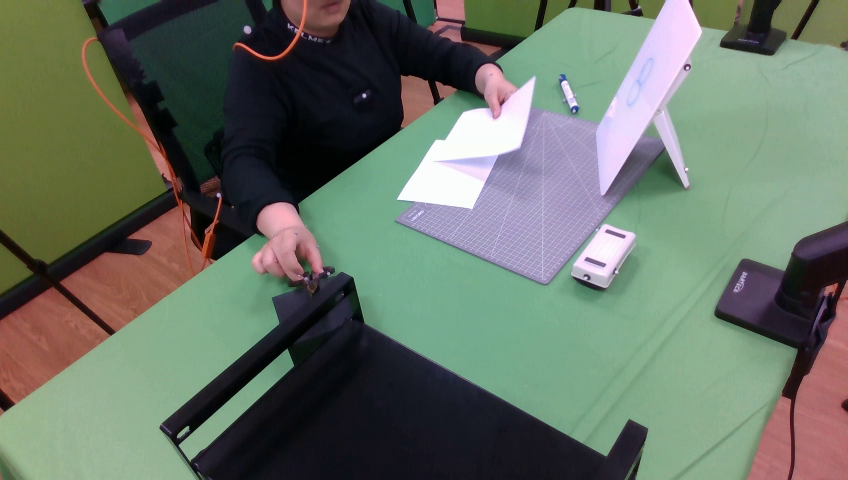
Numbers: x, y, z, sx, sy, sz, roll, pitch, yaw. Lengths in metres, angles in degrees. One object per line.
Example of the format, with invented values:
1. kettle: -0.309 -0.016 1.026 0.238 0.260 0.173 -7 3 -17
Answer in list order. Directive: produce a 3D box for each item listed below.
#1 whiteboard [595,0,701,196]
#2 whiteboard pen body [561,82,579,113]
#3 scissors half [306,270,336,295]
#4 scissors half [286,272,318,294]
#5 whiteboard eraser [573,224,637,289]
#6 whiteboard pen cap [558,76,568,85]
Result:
1. whiteboard: 0.420 -0.227 1.010 0.144 0.305 0.216 18 42 -2
2. whiteboard pen body: 0.310 -0.311 1.298 0.017 0.017 0.140 -6 41 3
3. scissors half: -0.151 0.061 0.869 0.040 0.013 0.175 -5 7 -2
4. scissors half: -0.171 0.064 0.866 0.040 0.013 0.174 -13 8 -19
5. whiteboard eraser: 0.267 0.025 0.891 0.055 0.042 0.113 19 47 31
6. whiteboard pen cap: 0.309 -0.350 1.340 0.018 0.018 0.033 -7 41 1
